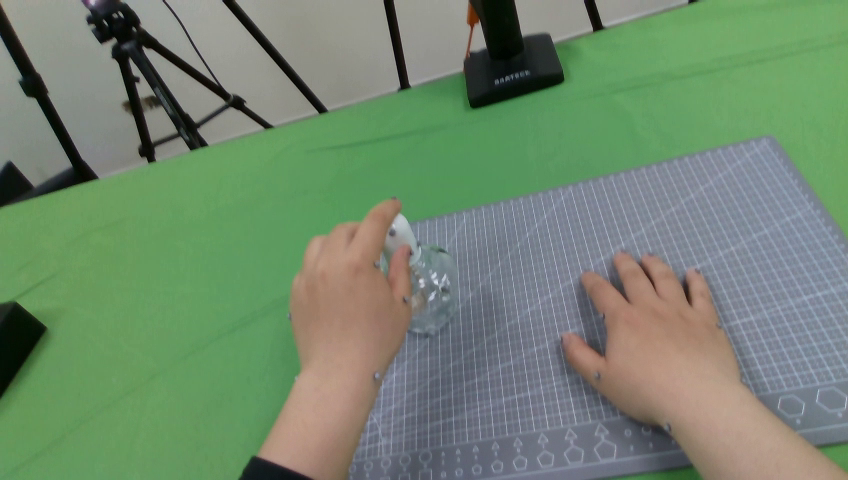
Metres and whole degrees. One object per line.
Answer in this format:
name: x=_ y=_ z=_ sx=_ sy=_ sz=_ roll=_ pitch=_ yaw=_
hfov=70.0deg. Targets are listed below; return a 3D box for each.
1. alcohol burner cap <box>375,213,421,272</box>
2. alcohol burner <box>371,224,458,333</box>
alcohol burner cap: x=-0.022 y=-0.001 z=0.488 sx=0.034 sy=0.048 sz=0.033 roll=-8 pitch=46 yaw=9
alcohol burner: x=-0.013 y=0.024 z=0.513 sx=0.078 sy=0.120 sz=0.077 roll=-11 pitch=43 yaw=11
